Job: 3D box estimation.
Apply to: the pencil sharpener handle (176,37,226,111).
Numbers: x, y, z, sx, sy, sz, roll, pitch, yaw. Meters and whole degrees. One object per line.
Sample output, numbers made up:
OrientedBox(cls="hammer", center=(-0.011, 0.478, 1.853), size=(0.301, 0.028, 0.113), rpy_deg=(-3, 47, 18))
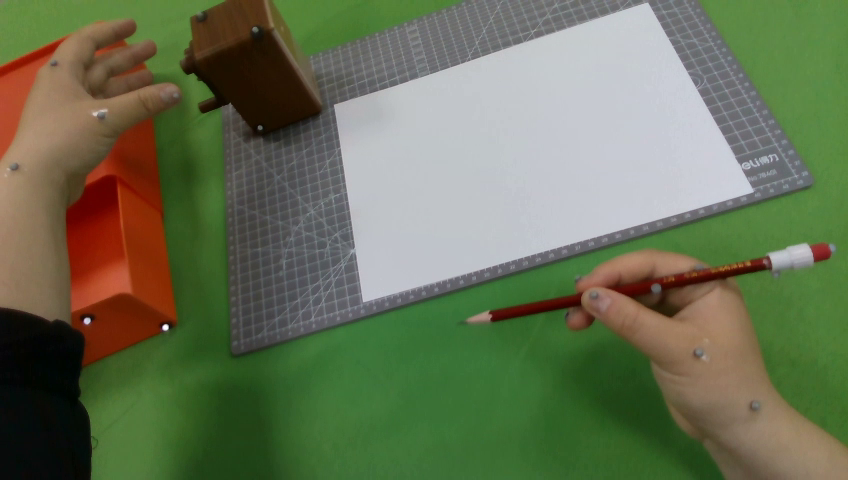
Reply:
OrientedBox(cls="pencil sharpener handle", center=(-0.203, -0.143, 0.534), size=(0.030, 0.068, 0.035), rpy_deg=(-22, 53, 4))

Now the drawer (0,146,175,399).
OrientedBox(cls="drawer", center=(-0.330, 0.011, 0.523), size=(0.194, 0.074, 0.209), rpy_deg=(-24, 59, 3))

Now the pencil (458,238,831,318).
OrientedBox(cls="pencil", center=(0.112, 0.024, 0.327), size=(0.194, 0.012, 0.012), rpy_deg=(-12, 60, 12))

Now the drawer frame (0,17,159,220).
OrientedBox(cls="drawer frame", center=(-0.369, -0.083, 0.581), size=(0.201, 0.083, 0.211), rpy_deg=(-24, 59, 3))

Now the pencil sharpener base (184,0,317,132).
OrientedBox(cls="pencil sharpener base", center=(-0.153, -0.158, 0.542), size=(0.076, 0.108, 0.061), rpy_deg=(-22, 59, 4))
